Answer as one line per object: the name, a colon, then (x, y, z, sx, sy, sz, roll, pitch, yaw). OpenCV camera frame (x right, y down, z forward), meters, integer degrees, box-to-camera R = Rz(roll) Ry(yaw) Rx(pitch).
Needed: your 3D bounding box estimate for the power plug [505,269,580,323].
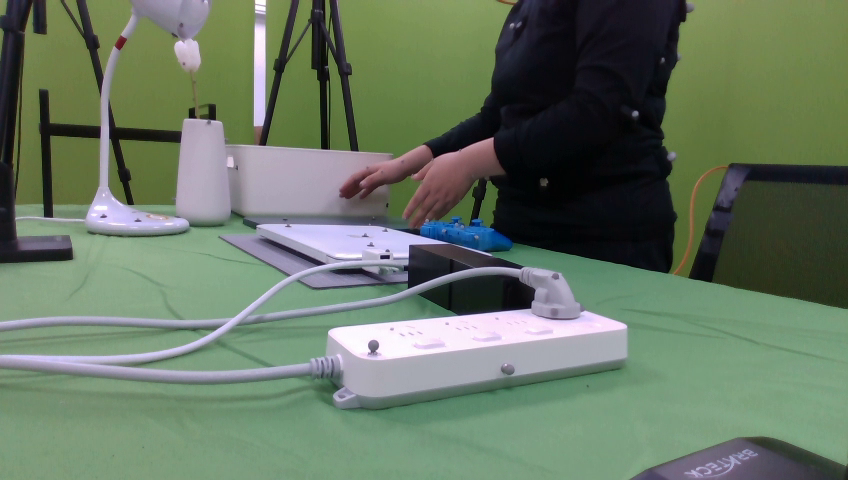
power plug: (0.092, 0.051, 0.470, 0.035, 0.052, 0.072, 0, 6, -16)

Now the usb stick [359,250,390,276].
usb stick: (-0.061, 0.026, 0.709, 0.021, 0.027, 0.059, -1, 3, -30)

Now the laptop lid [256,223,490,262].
laptop lid: (-0.093, 0.000, 0.912, 0.243, 0.013, 0.355, 1, 7, -30)

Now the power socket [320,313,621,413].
power socket: (0.038, 0.075, 0.409, 0.228, 0.032, 0.072, -2, 8, -29)

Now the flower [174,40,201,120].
flower: (-0.430, -0.211, 1.165, 0.044, 0.361, 0.038, -10, -5, -23)

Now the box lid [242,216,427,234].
box lid: (-0.162, -0.030, 1.233, 0.373, 0.015, 0.262, -1, 8, -32)

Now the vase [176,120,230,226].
vase: (-0.425, -0.128, 1.159, 0.098, 0.200, 0.098, 2, 9, 0)

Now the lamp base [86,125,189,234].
lamp base: (-0.497, -0.105, 1.027, 0.179, 0.180, 0.160, 1, 7, 3)

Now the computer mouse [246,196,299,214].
computer mouse: (-0.355, -0.083, 1.418, 0.117, 0.041, 0.063, 0, 9, 7)

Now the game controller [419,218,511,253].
game controller: (0.063, -0.009, 1.028, 0.154, 0.051, 0.097, 9, 15, 43)

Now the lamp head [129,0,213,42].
lamp head: (-0.423, -0.394, 0.980, 0.123, 0.112, 0.112, 20, 7, -3)

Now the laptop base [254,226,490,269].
laptop base: (-0.096, 0.011, 0.912, 0.237, 0.023, 0.352, 3, 6, -32)

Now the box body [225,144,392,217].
box body: (-0.289, -0.143, 1.475, 0.366, 0.160, 0.253, -1, 9, -29)
